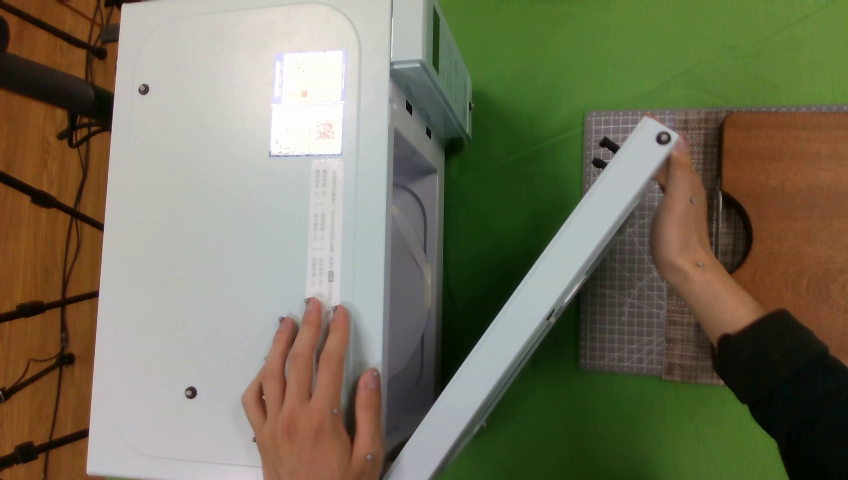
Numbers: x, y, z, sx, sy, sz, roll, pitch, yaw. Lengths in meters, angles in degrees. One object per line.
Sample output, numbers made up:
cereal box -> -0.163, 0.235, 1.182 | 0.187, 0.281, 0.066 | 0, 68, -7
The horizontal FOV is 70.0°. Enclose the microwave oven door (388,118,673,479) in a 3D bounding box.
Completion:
microwave oven door -> 0.100, 0.070, 0.569 | 0.039, 0.245, 0.356 | 36, 93, 16

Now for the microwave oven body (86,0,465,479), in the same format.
microwave oven body -> -0.133, 0.001, 0.637 | 0.325, 0.261, 0.440 | 0, 85, 13

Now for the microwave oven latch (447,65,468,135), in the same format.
microwave oven latch -> 0.038, -0.166, 0.712 | 0.030, 0.029, 0.079 | 0, 85, 13
